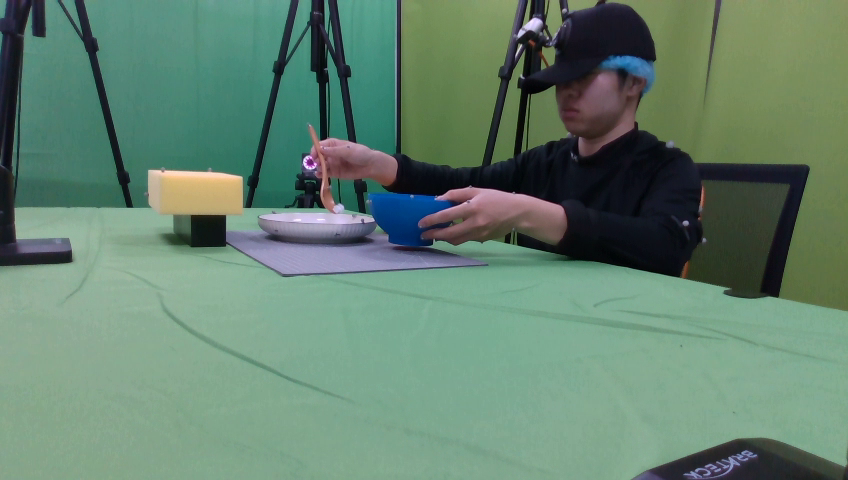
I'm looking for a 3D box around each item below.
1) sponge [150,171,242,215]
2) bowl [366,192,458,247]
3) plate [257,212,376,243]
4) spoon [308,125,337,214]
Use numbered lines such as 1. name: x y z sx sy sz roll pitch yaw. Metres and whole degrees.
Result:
1. sponge: -0.379 -0.079 0.994 0.119 0.061 0.206 -1 8 -29
2. bowl: -0.021 -0.033 0.980 0.151 0.077 0.151 4 7 0
3. plate: -0.189 -0.023 1.072 0.209 0.038 0.209 3 7 0
4. spoon: -0.188 -0.131 1.110 0.021 0.193 0.042 -21 -22 20
